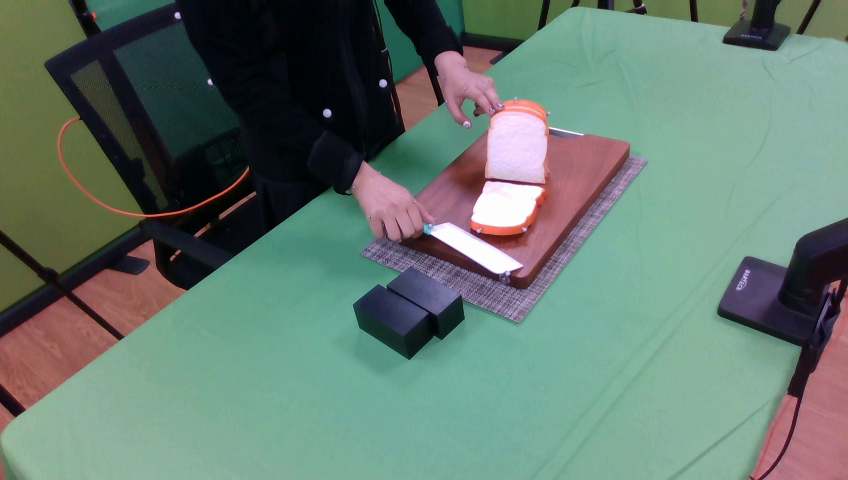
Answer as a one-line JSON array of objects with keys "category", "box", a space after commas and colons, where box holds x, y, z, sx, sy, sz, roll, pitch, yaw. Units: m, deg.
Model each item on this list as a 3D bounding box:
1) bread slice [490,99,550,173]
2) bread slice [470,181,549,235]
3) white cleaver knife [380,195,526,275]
[{"category": "bread slice", "box": [0.165, -0.177, 1.034, 0.104, 0.132, 0.019, 4, 35, 13]}, {"category": "bread slice", "box": [0.131, -0.054, 0.975, 0.106, 0.018, 0.134, 9, 39, 24]}, {"category": "white cleaver knife", "box": [0.035, -0.010, 0.949, 0.066, 0.021, 0.284, -13, 35, -44]}]
